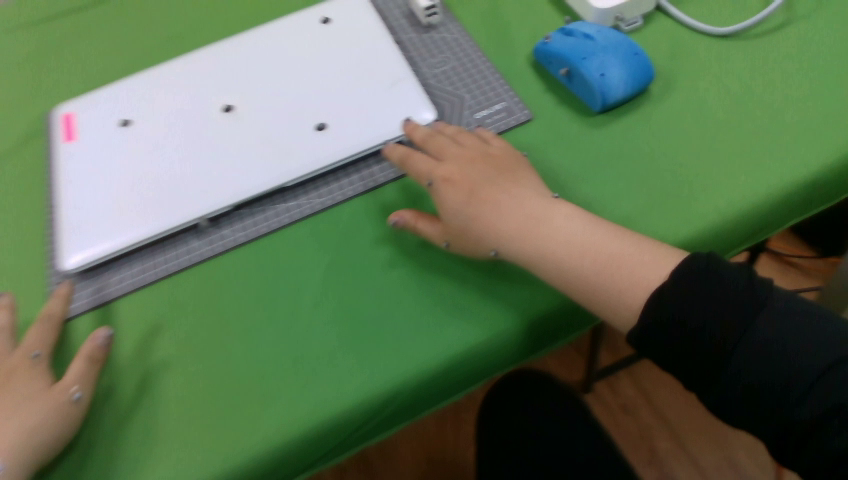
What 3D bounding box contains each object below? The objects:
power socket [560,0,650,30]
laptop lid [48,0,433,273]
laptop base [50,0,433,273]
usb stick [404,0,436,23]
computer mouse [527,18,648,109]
[{"bbox_3d":[0.157,-0.300,0.647,0.072,0.033,0.224,-23,55,-4],"label":"power socket"},{"bbox_3d":[-0.192,-0.125,0.591,0.357,0.013,0.239,-23,57,-5],"label":"laptop lid"},{"bbox_3d":[-0.191,-0.121,0.602,0.354,0.023,0.233,-24,58,-6],"label":"laptop base"},{"bbox_3d":[-0.009,-0.262,0.655,0.021,0.027,0.058,-26,53,-3],"label":"usb stick"},{"bbox_3d":[0.147,-0.170,0.557,0.063,0.041,0.116,-29,51,-7],"label":"computer mouse"}]
